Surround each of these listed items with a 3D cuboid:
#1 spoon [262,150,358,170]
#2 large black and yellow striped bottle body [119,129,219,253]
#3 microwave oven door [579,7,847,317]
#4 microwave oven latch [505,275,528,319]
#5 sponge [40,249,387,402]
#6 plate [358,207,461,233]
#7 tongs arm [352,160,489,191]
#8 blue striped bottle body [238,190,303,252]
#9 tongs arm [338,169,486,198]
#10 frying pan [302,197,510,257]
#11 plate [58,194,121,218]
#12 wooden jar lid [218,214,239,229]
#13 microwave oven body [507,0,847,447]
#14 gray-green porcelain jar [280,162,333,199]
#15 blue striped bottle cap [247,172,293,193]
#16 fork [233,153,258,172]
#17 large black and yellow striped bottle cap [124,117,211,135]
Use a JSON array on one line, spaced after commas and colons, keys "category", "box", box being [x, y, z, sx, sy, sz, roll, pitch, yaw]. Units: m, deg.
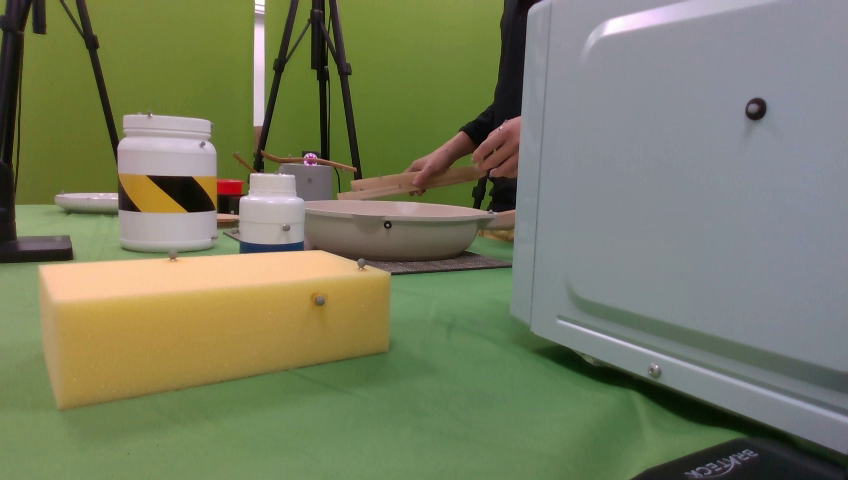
[{"category": "spoon", "box": [-0.229, -0.162, 1.222, 0.194, 0.021, 0.041, 4, 4, -16]}, {"category": "large black and yellow striped bottle body", "box": [-0.367, -0.080, 0.876, 0.131, 0.184, 0.130, 1, 7, 0]}, {"category": "microwave oven door", "box": [0.294, -0.067, 0.570, 0.358, 0.243, 0.039, -3, 9, -31]}, {"category": "microwave oven latch", "box": [0.100, 0.041, 0.471, 0.079, 0.029, 0.030, -1, 7, -28]}, {"category": "sponge", "box": [-0.142, 0.047, 0.419, 0.208, 0.061, 0.117, -3, 8, -36]}, {"category": "plate", "box": [-0.030, -0.041, 1.213, 0.208, 0.039, 0.207, 3, 7, 0]}, {"category": "tongs arm", "box": [0.001, -0.151, 1.412, 0.387, 0.026, 0.050, -13, -10, -29]}, {"category": "blue striped bottle body", "box": [-0.153, -0.007, 0.606, 0.063, 0.120, 0.063, 2, 8, 0]}, {"category": "tongs arm", "box": [-0.021, -0.138, 1.456, 0.389, 0.027, 0.028, -14, -13, -26]}, {"category": "frying pan", "box": [0.050, -0.035, 0.915, 0.487, 0.102, 0.307, -5, 7, 10]}, {"category": "plate", "box": [-0.671, -0.074, 1.310, 0.209, 0.038, 0.209, 2, 8, 0]}, {"category": "wooden jar lid", "box": [-0.404, -0.037, 1.169, 0.108, 0.020, 0.108, 3, 7, 0]}, {"category": "microwave oven body", "box": [0.331, -0.042, 0.425, 0.444, 0.260, 0.324, -2, 8, -31]}, {"category": "gray-green porcelain jar", "box": [-0.238, -0.092, 1.221, 0.106, 0.126, 0.106, 2, 7, 0]}, {"category": "blue striped bottle cap", "box": [-0.152, -0.057, 0.598, 0.044, 0.020, 0.044, 3, 6, 0]}, {"category": "fork", "box": [-0.396, -0.144, 1.486, 0.028, 0.018, 0.208, 20, -26, 45]}, {"category": "large black and yellow striped bottle cap", "box": [-0.366, -0.163, 0.866, 0.115, 0.019, 0.115, 3, 7, 0]}]
